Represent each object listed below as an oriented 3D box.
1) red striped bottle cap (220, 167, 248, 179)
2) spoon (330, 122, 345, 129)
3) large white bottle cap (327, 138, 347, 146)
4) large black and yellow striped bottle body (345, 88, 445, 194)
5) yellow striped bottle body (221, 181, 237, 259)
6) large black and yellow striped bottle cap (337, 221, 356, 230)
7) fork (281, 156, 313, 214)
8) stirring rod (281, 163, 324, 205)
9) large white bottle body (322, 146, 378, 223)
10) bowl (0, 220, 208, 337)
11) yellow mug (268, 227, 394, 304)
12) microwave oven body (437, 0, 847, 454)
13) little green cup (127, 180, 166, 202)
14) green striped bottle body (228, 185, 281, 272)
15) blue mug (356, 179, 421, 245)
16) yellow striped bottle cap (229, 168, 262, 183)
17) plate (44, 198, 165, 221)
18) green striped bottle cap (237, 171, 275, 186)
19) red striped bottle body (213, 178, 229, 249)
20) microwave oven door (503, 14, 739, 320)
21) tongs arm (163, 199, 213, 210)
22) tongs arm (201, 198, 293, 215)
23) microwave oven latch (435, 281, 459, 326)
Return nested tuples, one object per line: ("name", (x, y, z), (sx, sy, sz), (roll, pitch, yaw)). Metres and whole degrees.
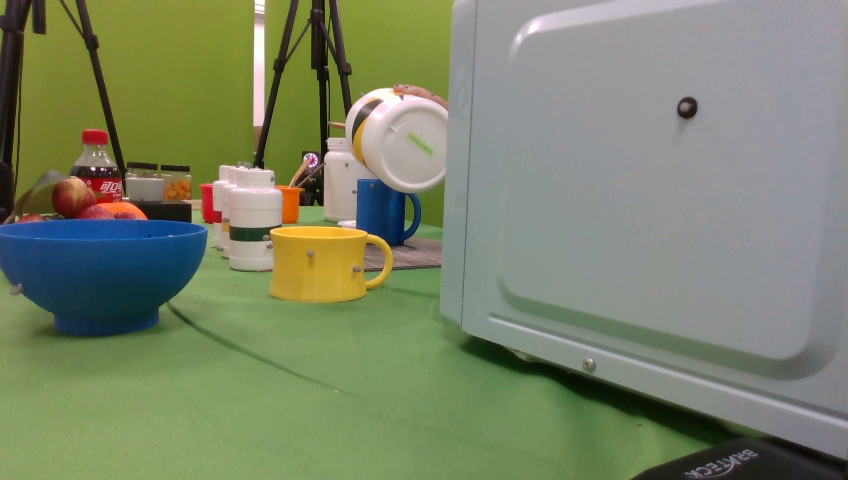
("red striped bottle cap", (-0.281, -0.100, 0.901), (0.044, 0.017, 0.044), (-1, 5, 0))
("spoon", (-0.099, -0.177, 0.999), (0.042, 0.021, 0.192), (-10, 28, -40))
("large white bottle cap", (-0.160, -0.218, 1.357), (0.115, 0.018, 0.115), (2, 8, 0))
("large black and yellow striped bottle body", (-0.041, -0.152, 0.889), (0.131, 0.130, 0.183), (-1, 19, -23))
("yellow striped bottle body", (-0.244, -0.035, 0.823), (0.063, 0.120, 0.063), (3, 8, 0))
("large black and yellow striped bottle cap", (-0.107, -0.022, 1.148), (0.115, 0.019, 0.115), (1, 8, 0))
("fork", (-0.289, -0.116, 1.320), (0.028, 0.019, 0.207), (0, 49, 25))
("stirring rod", (-0.278, -0.105, 1.293), (0.176, 0.006, 0.014), (-47, 24, -18))
("large white bottle body", (-0.163, -0.134, 1.369), (0.131, 0.184, 0.130), (2, 7, 0))
("bowl", (-0.251, 0.029, 0.479), (0.151, 0.077, 0.151), (2, 7, 0))
("yellow mug", (-0.094, 0.023, 0.629), (0.131, 0.064, 0.099), (0, 8, -22))
("microwave oven body", (0.279, -0.040, 0.464), (0.444, 0.260, 0.324), (-3, 8, -41))
("little green cup", (-0.486, -0.086, 1.061), (0.061, 0.038, 0.061), (0, 7, 0))
("green striped bottle body", (-0.208, -0.024, 0.745), (0.063, 0.119, 0.063), (2, 7, 0))
("blue mug", (-0.058, -0.047, 1.005), (0.116, 0.106, 0.082), (5, 8, 23))
("yellow striped bottle cap", (-0.240, -0.087, 0.816), (0.044, 0.018, 0.044), (-2, 5, 1))
("plate", (-0.617, -0.056, 1.179), (0.209, 0.038, 0.209), (3, 7, 0))
("green striped bottle cap", (-0.205, -0.075, 0.737), (0.044, 0.020, 0.044), (1, 7, 0))
("red striped bottle body", (-0.284, -0.047, 0.907), (0.063, 0.119, 0.063), (2, 7, 0))
("microwave oven door", (0.218, -0.065, 0.600), (0.358, 0.243, 0.039), (-4, 10, -41))
("tongs arm", (-0.504, -0.091, 1.513), (0.028, 0.028, 0.389), (0, 4, 37))
("tongs arm", (-0.423, -0.084, 1.472), (0.050, 0.026, 0.386), (2, 6, 21))
("microwave oven latch", (0.044, 0.046, 0.470), (0.079, 0.029, 0.030), (-3, 8, -40))
